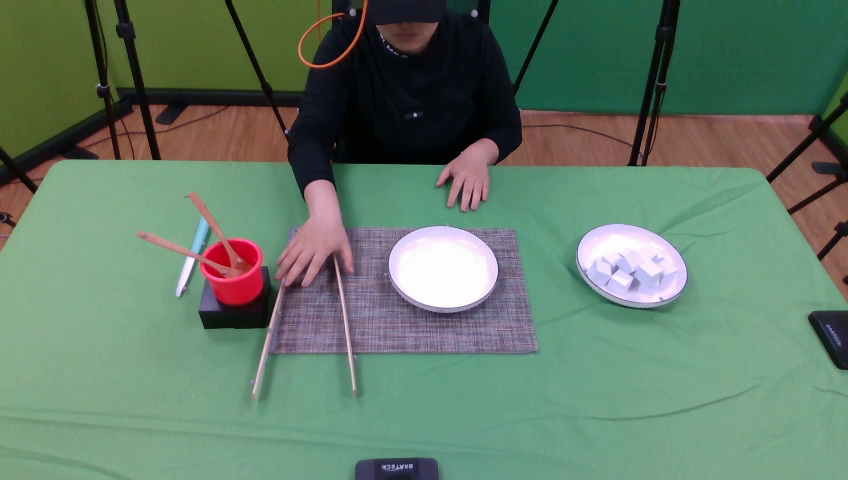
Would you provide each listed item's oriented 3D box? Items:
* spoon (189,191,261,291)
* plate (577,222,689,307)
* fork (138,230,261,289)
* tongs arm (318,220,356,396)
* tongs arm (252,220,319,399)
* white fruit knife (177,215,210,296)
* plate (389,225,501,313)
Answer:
[{"bbox_3d":[-0.333,0.001,1.012,0.041,0.194,0.021,-34,15,-25],"label":"spoon"},{"bbox_3d":[0.396,0.050,1.165,0.209,0.038,0.208,2,47,-2],"label":"plate"},{"bbox_3d":[-0.360,0.032,0.981,0.208,0.018,0.028,31,60,-30],"label":"fork"},{"bbox_3d":[-0.154,0.103,1.074,0.028,0.028,0.385,-11,47,-7],"label":"tongs arm"},{"bbox_3d":[-0.237,0.105,1.067,0.051,0.026,0.382,1,46,0],"label":"tongs arm"},{"bbox_3d":[-0.435,0.025,1.148,0.027,0.016,0.206,-18,45,18],"label":"white fruit knife"},{"bbox_3d":[0.038,0.057,1.129,0.208,0.039,0.206,2,46,-2],"label":"plate"}]
